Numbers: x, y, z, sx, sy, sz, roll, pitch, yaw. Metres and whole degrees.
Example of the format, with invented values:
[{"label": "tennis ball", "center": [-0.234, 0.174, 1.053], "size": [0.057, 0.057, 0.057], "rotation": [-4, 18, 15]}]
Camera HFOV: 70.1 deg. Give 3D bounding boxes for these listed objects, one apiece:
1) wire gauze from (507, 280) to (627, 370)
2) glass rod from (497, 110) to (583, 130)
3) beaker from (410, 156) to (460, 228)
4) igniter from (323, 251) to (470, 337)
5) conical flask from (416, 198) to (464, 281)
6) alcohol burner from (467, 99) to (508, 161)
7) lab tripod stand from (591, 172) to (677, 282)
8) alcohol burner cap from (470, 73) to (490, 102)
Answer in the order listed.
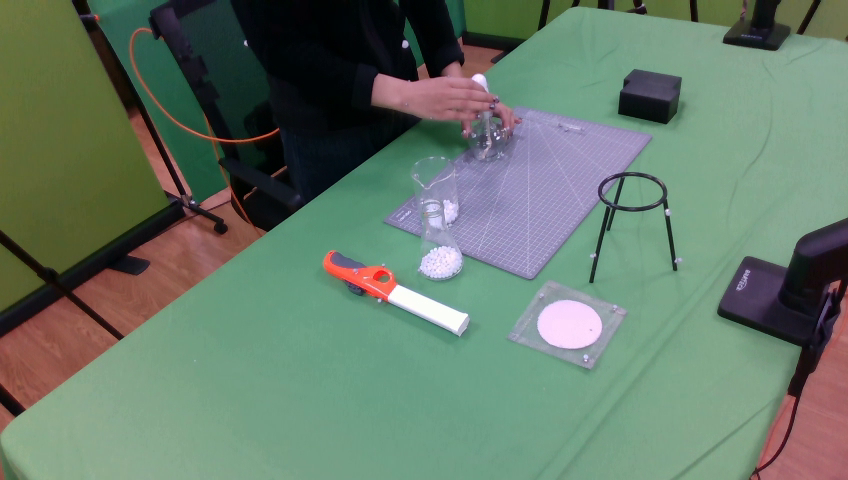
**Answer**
[{"label": "wire gauze", "center": [0.196, 0.114, 0.823], "size": [0.120, 0.011, 0.125], "rotation": [20, 50, 31]}, {"label": "glass rod", "center": [0.233, -0.245, 1.235], "size": [0.198, 0.008, 0.008], "rotation": [20, 49, 35]}, {"label": "beaker", "center": [0.020, -0.076, 1.006], "size": [0.074, 0.101, 0.084], "rotation": [3, 42, 16]}, {"label": "igniter", "center": [-0.052, 0.075, 0.901], "size": [0.274, 0.025, 0.057], "rotation": [22, 60, 32]}, {"label": "conical flask", "center": [0.019, -0.004, 0.907], "size": [0.075, 0.122, 0.075], "rotation": [-5, 40, 5]}, {"label": "alcohol burner", "center": [0.119, -0.210, 1.134], "size": [0.078, 0.119, 0.077], "rotation": [-4, 39, 4]}, {"label": "lab tripod stand", "center": [0.292, -0.022, 0.867], "size": [0.148, 0.132, 0.147], "rotation": [-7, 39, 6]}, {"label": "alcohol burner cap", "center": [0.098, -0.274, 1.078], "size": [0.034, 0.048, 0.033], "rotation": [-10, 44, 10]}]
